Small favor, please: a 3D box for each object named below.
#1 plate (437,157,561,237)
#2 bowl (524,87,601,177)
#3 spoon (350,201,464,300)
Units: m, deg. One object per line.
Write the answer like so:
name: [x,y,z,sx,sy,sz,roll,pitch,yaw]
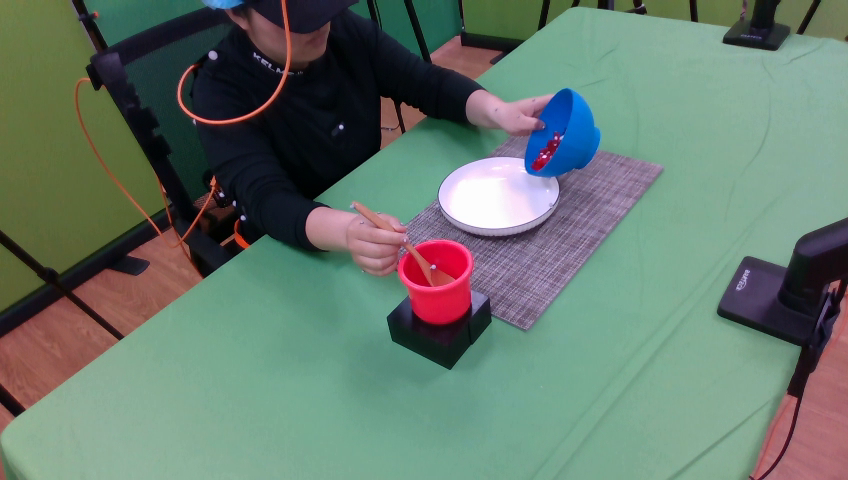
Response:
plate: [0.127,-0.070,1.023,0.207,0.039,0.206,-5,40,5]
bowl: [0.236,-0.165,0.992,0.077,0.151,0.150,20,39,-13]
spoon: [-0.020,0.013,0.787,0.021,0.194,0.041,-34,19,37]
